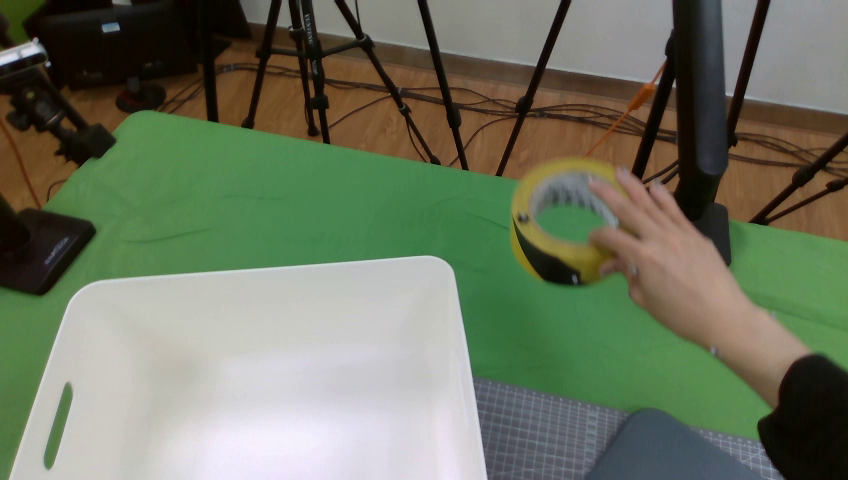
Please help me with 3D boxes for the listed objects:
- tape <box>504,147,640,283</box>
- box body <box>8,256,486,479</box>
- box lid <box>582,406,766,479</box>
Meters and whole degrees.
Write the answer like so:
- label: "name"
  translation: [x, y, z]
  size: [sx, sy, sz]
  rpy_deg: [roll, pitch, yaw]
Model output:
- label: "tape"
  translation: [0.127, -0.023, 0.537]
  size: [0.117, 0.053, 0.116]
  rpy_deg: [-2, 59, 3]
- label: "box body"
  translation: [-0.140, 0.173, 0.569]
  size: [0.364, 0.162, 0.251]
  rpy_deg: [-4, 50, -4]
- label: "box lid"
  translation: [0.292, 0.342, 0.534]
  size: [0.368, 0.015, 0.263]
  rpy_deg: [34, 58, 24]
